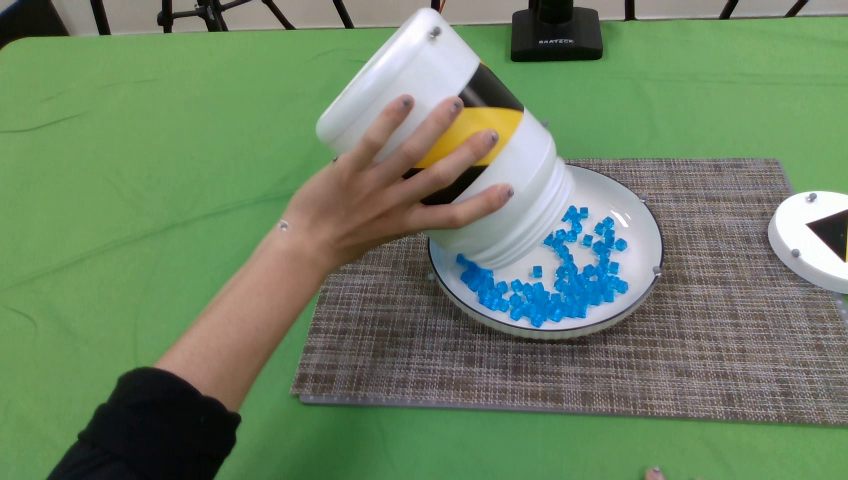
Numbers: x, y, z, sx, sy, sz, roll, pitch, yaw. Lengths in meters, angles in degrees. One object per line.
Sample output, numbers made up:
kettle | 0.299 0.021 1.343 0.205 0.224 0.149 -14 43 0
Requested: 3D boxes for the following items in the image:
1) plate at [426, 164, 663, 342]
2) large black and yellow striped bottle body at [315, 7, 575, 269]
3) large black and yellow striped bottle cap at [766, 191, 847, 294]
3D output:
plate | 0.107 0.009 0.552 0.207 0.039 0.205 -3 47 4
large black and yellow striped bottle body | 0.021 -0.074 0.488 0.131 0.185 0.130 -43 18 17
large black and yellow striped bottle cap | 0.373 0.000 0.546 0.115 0.019 0.114 -1 48 1
